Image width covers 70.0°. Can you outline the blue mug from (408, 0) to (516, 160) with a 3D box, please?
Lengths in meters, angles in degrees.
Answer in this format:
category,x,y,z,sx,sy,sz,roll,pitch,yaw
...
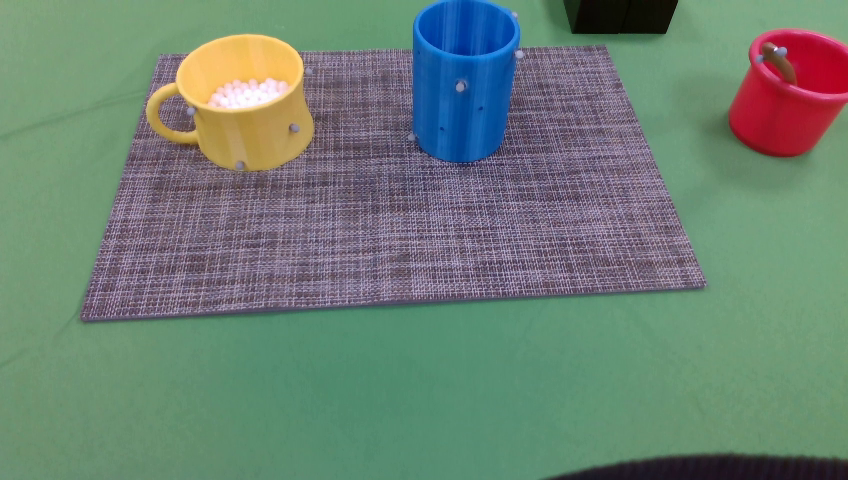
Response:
category,x,y,z,sx,sy,sz,roll,pitch,yaw
blue mug,0.039,-0.141,0.510,0.082,0.107,0.116,34,58,22

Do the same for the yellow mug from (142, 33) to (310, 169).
category,x,y,z,sx,sy,sz,roll,pitch,yaw
yellow mug,-0.165,-0.113,0.504,0.131,0.064,0.099,-15,55,-12

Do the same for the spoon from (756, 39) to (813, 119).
category,x,y,z,sx,sy,sz,roll,pitch,yaw
spoon,0.292,-0.131,0.494,0.195,0.022,0.041,11,32,-54
